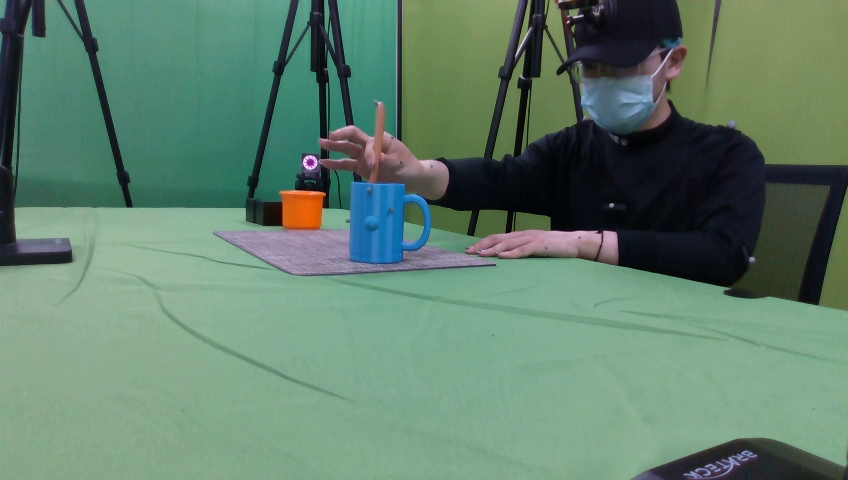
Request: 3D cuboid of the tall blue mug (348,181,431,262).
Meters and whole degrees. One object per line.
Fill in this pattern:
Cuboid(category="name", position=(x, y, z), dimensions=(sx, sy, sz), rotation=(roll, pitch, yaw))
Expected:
Cuboid(category="tall blue mug", position=(-0.052, -0.028, 0.849), dimensions=(0.108, 0.108, 0.077), rotation=(-1, 7, -22))

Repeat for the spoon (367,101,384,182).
Cuboid(category="spoon", position=(-0.072, -0.102, 0.850), dimensions=(0.042, 0.193, 0.021), rotation=(10, -3, -29))
